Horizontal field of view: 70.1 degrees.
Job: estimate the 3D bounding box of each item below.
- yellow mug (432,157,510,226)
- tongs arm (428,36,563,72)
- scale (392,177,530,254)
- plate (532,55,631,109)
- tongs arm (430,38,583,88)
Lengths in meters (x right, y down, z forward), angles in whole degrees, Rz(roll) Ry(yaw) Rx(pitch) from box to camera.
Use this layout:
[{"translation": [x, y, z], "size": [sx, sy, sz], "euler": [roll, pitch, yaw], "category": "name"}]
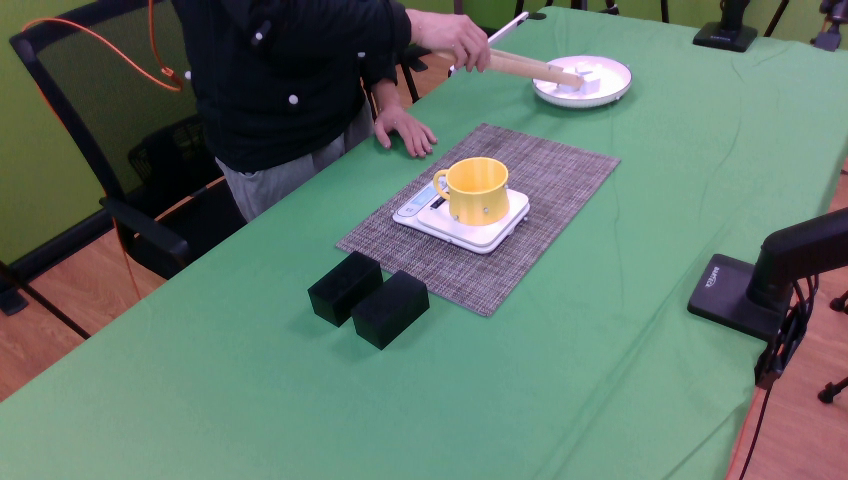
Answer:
[{"translation": [0.072, -0.082, 0.968], "size": [0.130, 0.064, 0.100], "euler": [13, 45, 24], "category": "yellow mug"}, {"translation": [0.152, -0.353, 1.183], "size": [0.391, 0.028, 0.028], "euler": [-3, 39, -41], "category": "tongs arm"}, {"translation": [0.060, -0.050, 1.006], "size": [0.199, 0.032, 0.149], "euler": [22, 48, 30], "category": "scale"}, {"translation": [0.336, -0.336, 1.301], "size": [0.207, 0.039, 0.206], "euler": [-4, 41, 4], "category": "plate"}, {"translation": [0.172, -0.333, 1.159], "size": [0.388, 0.026, 0.050], "euler": [-4, 36, -41], "category": "tongs arm"}]
